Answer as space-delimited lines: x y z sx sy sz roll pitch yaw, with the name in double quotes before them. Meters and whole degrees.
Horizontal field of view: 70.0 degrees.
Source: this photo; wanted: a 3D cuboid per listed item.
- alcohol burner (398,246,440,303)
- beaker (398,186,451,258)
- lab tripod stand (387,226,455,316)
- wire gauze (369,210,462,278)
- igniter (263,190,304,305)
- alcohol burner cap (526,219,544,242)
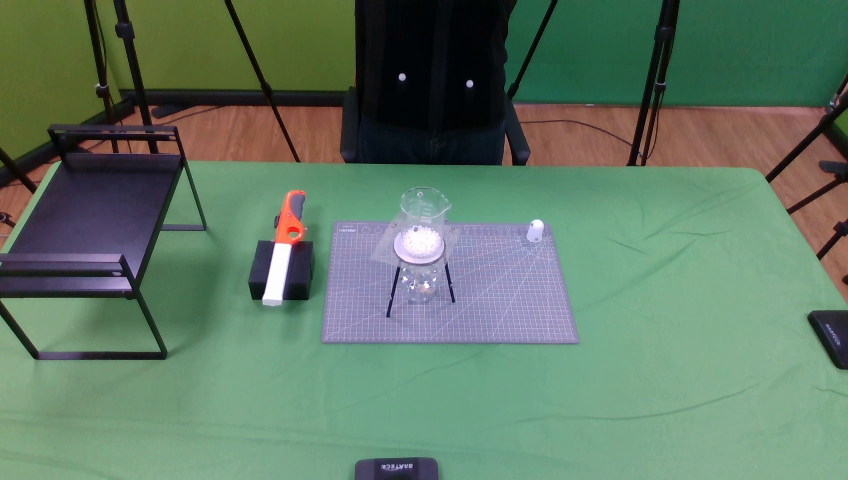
"alcohol burner" -0.008 0.056 1.077 0.078 0.119 0.077 3 44 -3
"beaker" -0.001 -0.026 0.984 0.084 0.101 0.073 1 48 -3
"lab tripod stand" -0.013 0.054 1.064 0.148 0.132 0.147 2 48 -2
"wire gauze" -0.013 0.007 1.019 0.121 0.011 0.124 16 51 13
"igniter" -0.255 0.004 1.107 0.057 0.025 0.274 5 47 -7
"alcohol burner cap" 0.225 -0.021 1.218 0.034 0.048 0.033 1 47 -1
